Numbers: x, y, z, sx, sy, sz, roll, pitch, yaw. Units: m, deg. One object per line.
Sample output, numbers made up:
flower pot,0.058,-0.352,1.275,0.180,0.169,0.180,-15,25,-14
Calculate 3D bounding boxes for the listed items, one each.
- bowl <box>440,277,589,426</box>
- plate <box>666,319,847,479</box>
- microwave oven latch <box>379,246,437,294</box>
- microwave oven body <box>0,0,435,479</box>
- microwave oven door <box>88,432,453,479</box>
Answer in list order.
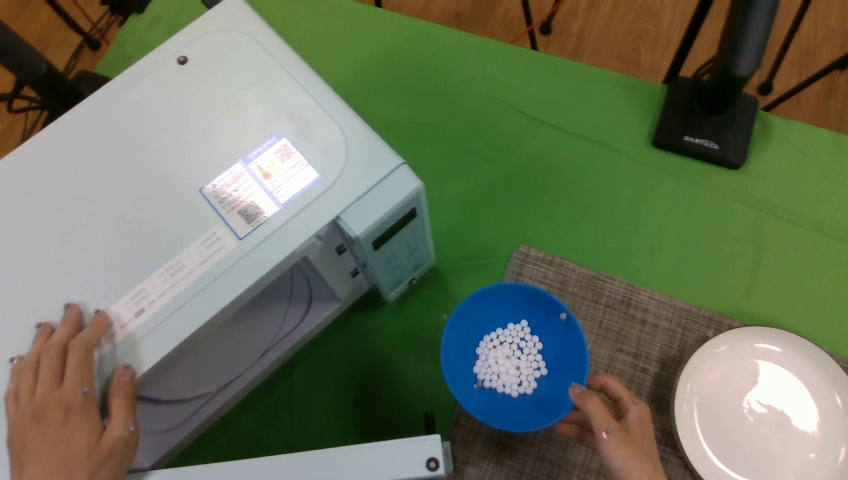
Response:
bowl,0.088,0.121,0.637,0.151,0.077,0.150,1,70,-2
plate,0.375,0.194,0.678,0.207,0.039,0.206,-1,71,3
microwave oven latch,-0.020,0.030,0.745,0.079,0.030,0.030,-39,73,-9
microwave oven body,-0.257,0.010,0.665,0.441,0.262,0.324,-41,74,-9
microwave oven door,-0.152,0.221,0.580,0.356,0.245,0.039,-8,71,1
